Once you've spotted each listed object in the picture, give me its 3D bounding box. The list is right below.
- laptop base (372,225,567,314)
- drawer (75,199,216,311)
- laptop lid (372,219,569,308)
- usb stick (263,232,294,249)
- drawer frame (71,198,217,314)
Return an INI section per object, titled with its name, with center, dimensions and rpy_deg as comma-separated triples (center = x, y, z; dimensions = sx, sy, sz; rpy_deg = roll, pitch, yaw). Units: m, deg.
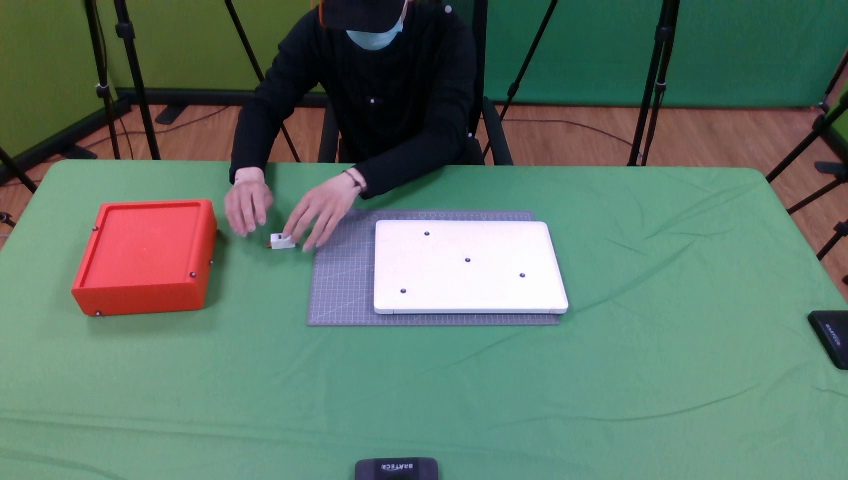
[laptop base]
center = 0.080, 0.049, 1.159
dimensions = 0.355, 0.023, 0.234
rpy_deg = 0, 43, -4
[drawer]
center = -0.494, 0.022, 1.097
dimensions = 0.195, 0.073, 0.210
rpy_deg = -2, 47, -8
[laptop lid]
center = 0.081, 0.039, 1.152
dimensions = 0.357, 0.013, 0.240
rpy_deg = 2, 44, -3
[usb stick]
center = -0.282, 0.001, 1.173
dimensions = 0.059, 0.027, 0.021
rpy_deg = -7, 49, -6
[drawer frame]
center = -0.493, 0.023, 1.096
dimensions = 0.202, 0.083, 0.212
rpy_deg = -3, 47, -8
